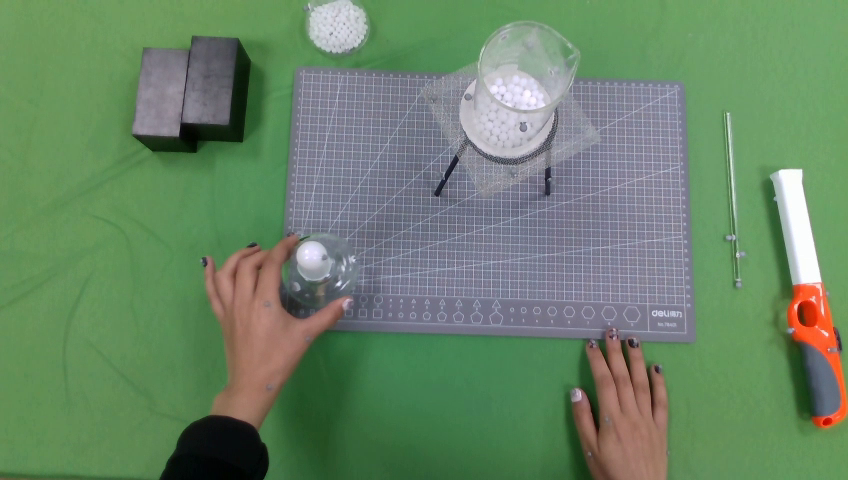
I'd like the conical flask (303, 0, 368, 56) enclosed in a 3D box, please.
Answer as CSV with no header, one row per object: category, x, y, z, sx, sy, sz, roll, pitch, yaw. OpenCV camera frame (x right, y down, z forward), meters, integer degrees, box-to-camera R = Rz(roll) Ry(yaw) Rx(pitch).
conical flask,-0.102,-0.259,0.653,0.075,0.122,0.075,0,79,-1

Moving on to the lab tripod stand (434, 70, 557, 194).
lab tripod stand,0.075,-0.099,0.619,0.148,0.132,0.148,0,81,-1

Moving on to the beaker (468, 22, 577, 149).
beaker,0.077,-0.124,0.508,0.084,0.100,0.073,-19,82,-4

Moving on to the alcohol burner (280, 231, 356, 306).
alcohol burner,-0.108,0.025,0.603,0.078,0.119,0.077,1,78,-2

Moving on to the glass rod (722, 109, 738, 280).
glass rod,0.345,-0.054,0.683,0.008,0.008,0.199,2,80,-1

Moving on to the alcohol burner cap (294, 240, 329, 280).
alcohol burner cap,-0.106,0.016,0.568,0.034,0.048,0.033,2,72,-7

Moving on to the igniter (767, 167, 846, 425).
igniter,0.412,0.056,0.654,0.057,0.025,0.275,-2,80,-12

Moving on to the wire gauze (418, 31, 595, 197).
wire gauze,0.076,-0.116,0.556,0.125,0.011,0.121,-27,84,-7
